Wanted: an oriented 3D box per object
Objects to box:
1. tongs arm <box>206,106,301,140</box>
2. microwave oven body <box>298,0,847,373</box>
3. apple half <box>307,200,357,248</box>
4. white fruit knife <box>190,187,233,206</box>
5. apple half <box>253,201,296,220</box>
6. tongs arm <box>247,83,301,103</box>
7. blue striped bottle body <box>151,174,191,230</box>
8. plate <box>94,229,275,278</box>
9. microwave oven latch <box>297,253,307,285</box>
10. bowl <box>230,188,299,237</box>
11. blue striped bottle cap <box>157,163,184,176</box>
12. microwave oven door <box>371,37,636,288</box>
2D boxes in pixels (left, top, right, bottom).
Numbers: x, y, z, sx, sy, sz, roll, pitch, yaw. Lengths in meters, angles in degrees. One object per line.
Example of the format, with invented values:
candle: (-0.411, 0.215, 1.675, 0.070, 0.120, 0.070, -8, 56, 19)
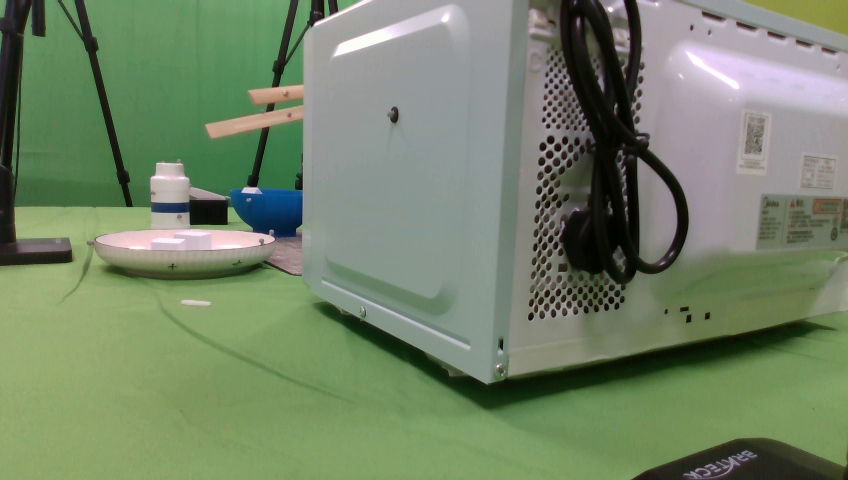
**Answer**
tongs arm: (-0.220, -0.244, 1.119, 0.050, 0.026, 0.386, -26, 1, 45)
microwave oven body: (0.151, -0.055, 0.543, 0.444, 0.260, 0.324, -1, 7, -33)
apple half: (-0.135, -0.024, 0.942, 0.053, 0.074, 0.081, 13, 8, 38)
white fruit knife: (-0.413, -0.081, 1.270, 0.208, 0.027, 0.016, 18, 14, -41)
apple half: (-0.264, -0.053, 1.067, 0.081, 0.033, 0.081, 2, 8, 0)
tongs arm: (-0.168, -0.266, 1.071, 0.028, 0.028, 0.389, -30, -1, 33)
blue striped bottle body: (-0.439, -0.071, 1.052, 0.063, 0.120, 0.063, 2, 7, 0)
plate: (-0.291, 0.016, 0.750, 0.208, 0.039, 0.207, 2, 7, 0)
microwave oven latch: (-0.082, 0.027, 0.582, 0.079, 0.029, 0.030, -1, 7, -33)
bowl: (-0.264, -0.048, 1.065, 0.151, 0.077, 0.151, 3, 8, 0)
blue striped bottle cap: (-0.438, -0.122, 1.045, 0.044, 0.020, 0.044, 4, 7, 0)
microwave oven door: (0.109, -0.080, 0.686, 0.358, 0.243, 0.039, -2, 9, -33)
